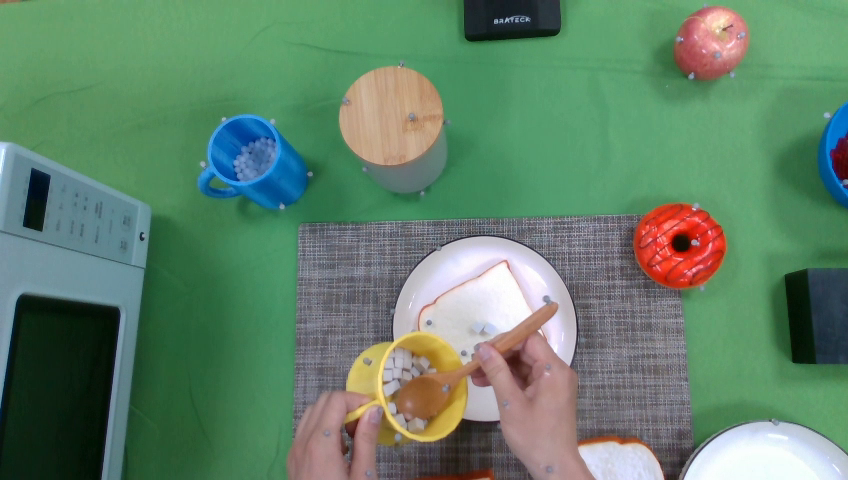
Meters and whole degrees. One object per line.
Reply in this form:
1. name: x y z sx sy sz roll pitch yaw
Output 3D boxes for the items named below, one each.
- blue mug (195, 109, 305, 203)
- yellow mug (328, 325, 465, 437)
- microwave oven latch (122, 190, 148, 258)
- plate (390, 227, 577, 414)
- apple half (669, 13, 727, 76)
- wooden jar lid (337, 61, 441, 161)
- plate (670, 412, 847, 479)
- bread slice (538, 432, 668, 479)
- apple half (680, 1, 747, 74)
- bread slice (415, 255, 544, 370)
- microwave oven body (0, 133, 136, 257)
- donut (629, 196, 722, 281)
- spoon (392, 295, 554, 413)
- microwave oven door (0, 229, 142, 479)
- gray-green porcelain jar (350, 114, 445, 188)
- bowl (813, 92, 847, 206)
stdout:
1. blue mug: -0.208 -0.088 0.709 0.116 0.106 0.082 -27 79 0
2. yellow mug: -0.031 0.140 0.572 0.131 0.064 0.099 -17 83 -37
3. microwave oven latch: -0.352 -0.019 0.725 0.030 0.029 0.079 4 82 5
4. plate: 0.066 0.090 0.689 0.207 0.039 0.207 -1 81 5
5. apple half: 0.307 -0.217 0.702 0.033 0.081 0.081 -34 79 -6
6. wooden jar lid: -0.036 -0.132 0.628 0.108 0.021 0.108 -1 79 5
7. plate: 0.359 0.286 0.637 0.209 0.038 0.208 -1 81 5
8. bread slice: 0.192 0.259 0.628 0.135 0.018 0.106 -6 77 -16
9. apple half: 0.339 -0.239 0.705 0.053 0.075 0.080 -33 75 -6
10. bread slice: 0.057 0.092 0.691 0.131 0.019 0.104 -27 80 -1
11. microwave oven body: -0.516 0.134 0.616 0.326 0.261 0.440 2 82 5
12. donut: 0.281 -0.002 0.682 0.099 0.048 0.098 -1 81 5
13. spoon: 0.042 0.106 0.548 0.194 0.021 0.042 -38 99 30
14. microwave oven door: -0.374 0.180 0.592 0.039 0.245 0.354 2 81 5
15. gray-green porcelain jar: -0.030 -0.121 0.689 0.106 0.127 0.105 -1 80 5
16. bowl: 0.495 -0.091 0.665 0.151 0.077 0.151 -1 81 5
